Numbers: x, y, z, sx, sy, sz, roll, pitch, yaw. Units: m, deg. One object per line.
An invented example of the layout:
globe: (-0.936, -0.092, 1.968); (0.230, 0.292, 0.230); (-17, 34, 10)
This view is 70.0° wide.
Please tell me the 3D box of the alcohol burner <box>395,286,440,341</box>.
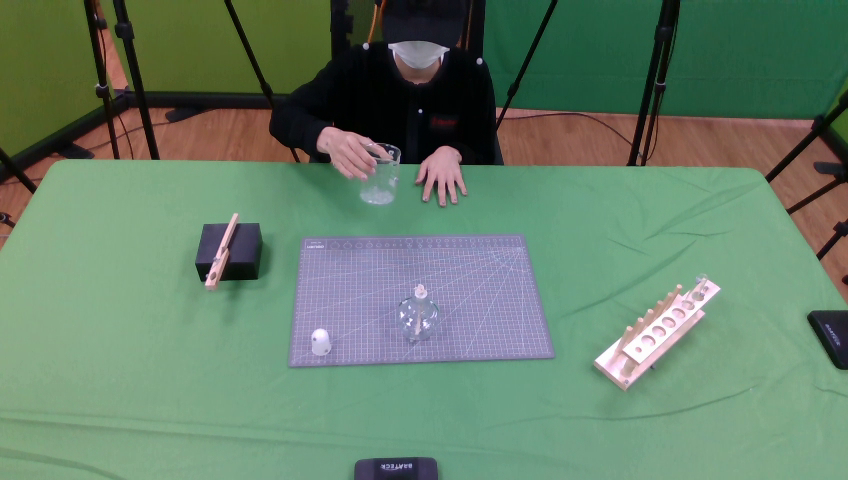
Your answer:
alcohol burner: (-0.010, 0.116, 1.018); (0.078, 0.119, 0.077); (3, 47, -3)

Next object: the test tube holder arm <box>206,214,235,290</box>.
test tube holder arm: (-0.364, 0.017, 1.090); (0.013, 0.015, 0.177); (7, 45, -8)

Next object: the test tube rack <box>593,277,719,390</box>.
test tube rack: (0.401, 0.148, 1.043); (0.242, 0.085, 0.066); (-30, 55, -29)

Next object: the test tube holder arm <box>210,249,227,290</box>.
test tube holder arm: (-0.359, 0.050, 1.059); (0.010, 0.015, 0.087); (8, 45, -8)

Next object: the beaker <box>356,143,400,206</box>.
beaker: (-0.086, -0.120, 1.128); (0.083, 0.100, 0.074); (30, 36, 30)

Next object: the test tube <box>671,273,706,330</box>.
test tube: (0.443, 0.106, 1.018); (0.017, 0.151, 0.017); (-1, 49, 1)

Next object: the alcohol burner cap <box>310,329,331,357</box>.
alcohol burner cap: (-0.173, 0.168, 1.005); (0.034, 0.048, 0.033); (2, 46, -2)
